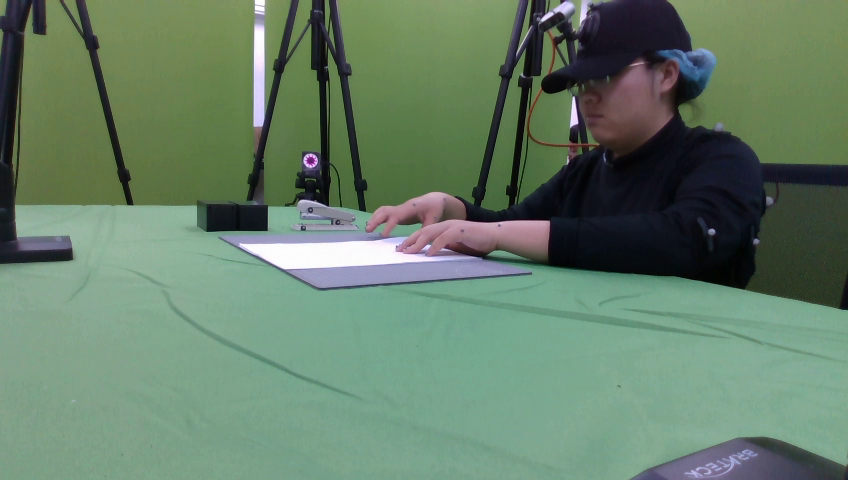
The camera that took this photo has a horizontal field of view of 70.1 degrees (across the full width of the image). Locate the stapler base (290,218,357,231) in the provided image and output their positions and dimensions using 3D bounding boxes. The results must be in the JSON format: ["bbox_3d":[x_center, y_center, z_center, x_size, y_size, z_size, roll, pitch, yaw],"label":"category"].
[{"bbox_3d":[-0.199,-0.033,1.201,0.131,0.024,0.041,2,10,-25],"label":"stapler base"}]

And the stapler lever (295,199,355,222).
[{"bbox_3d":[-0.196,-0.058,1.199,0.118,0.040,0.026,2,10,-25],"label":"stapler lever"}]
